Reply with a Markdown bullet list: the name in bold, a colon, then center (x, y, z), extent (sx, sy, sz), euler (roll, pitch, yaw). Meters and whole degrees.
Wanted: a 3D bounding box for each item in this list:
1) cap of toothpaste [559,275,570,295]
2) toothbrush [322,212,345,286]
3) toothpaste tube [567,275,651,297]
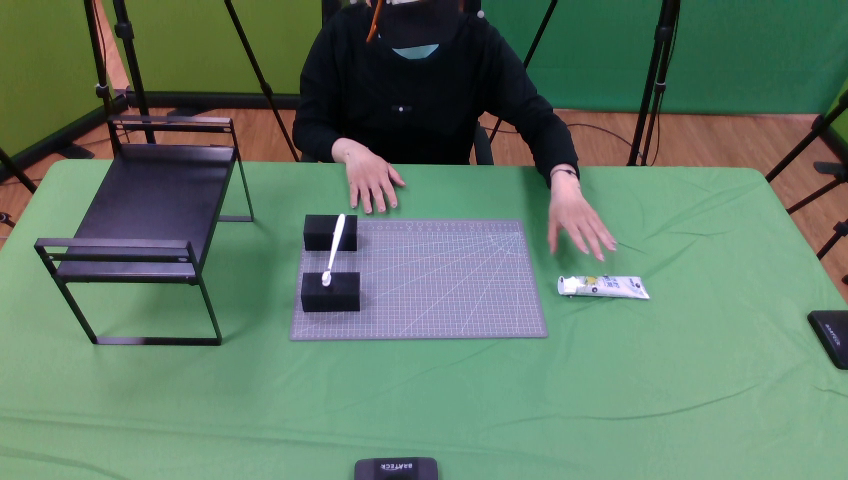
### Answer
- **cap of toothpaste**: center (0.261, 0.083, 1.120), extent (0.011, 0.037, 0.037), euler (0, 47, -9)
- **toothbrush**: center (-0.164, 0.011, 1.101), extent (0.014, 0.017, 0.181), euler (-6, 44, 12)
- **toothpaste tube**: center (0.339, 0.085, 1.132), extent (0.165, 0.035, 0.054), euler (0, 50, -9)
